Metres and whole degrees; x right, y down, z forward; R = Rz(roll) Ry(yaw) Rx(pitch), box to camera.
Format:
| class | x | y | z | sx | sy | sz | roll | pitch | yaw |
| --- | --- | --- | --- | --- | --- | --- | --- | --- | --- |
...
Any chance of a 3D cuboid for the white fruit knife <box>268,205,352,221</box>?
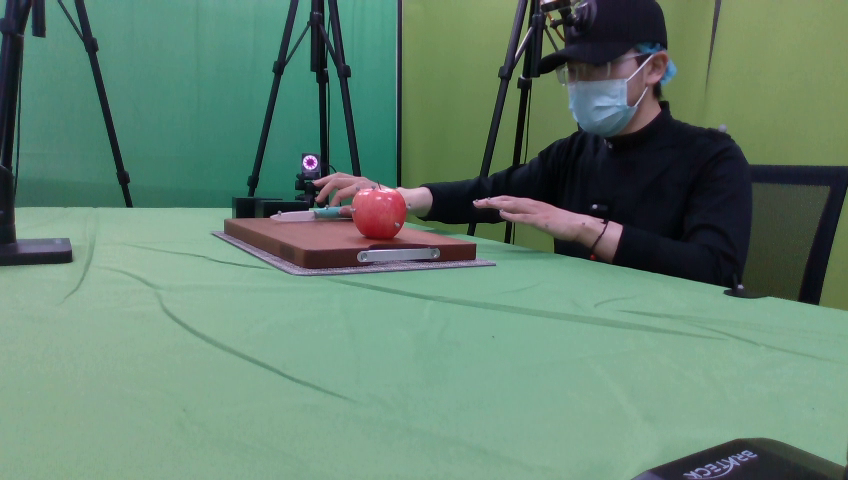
| class | x | y | z | sx | sy | sz | roll | pitch | yaw |
| --- | --- | --- | --- | --- | --- | --- | --- | --- | --- |
| white fruit knife | -0.198 | -0.048 | 1.100 | 0.016 | 0.027 | 0.208 | 38 | 27 | 28 |

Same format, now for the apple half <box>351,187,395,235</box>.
| class | x | y | z | sx | sy | sz | roll | pitch | yaw |
| --- | --- | --- | --- | --- | --- | --- | --- | --- | --- |
| apple half | -0.083 | -0.046 | 0.913 | 0.082 | 0.081 | 0.032 | -3 | 13 | -38 |

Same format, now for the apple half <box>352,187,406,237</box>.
| class | x | y | z | sx | sy | sz | roll | pitch | yaw |
| --- | --- | --- | --- | --- | --- | --- | --- | --- | --- |
| apple half | -0.059 | -0.039 | 0.883 | 0.081 | 0.074 | 0.053 | 2 | 10 | -39 |
